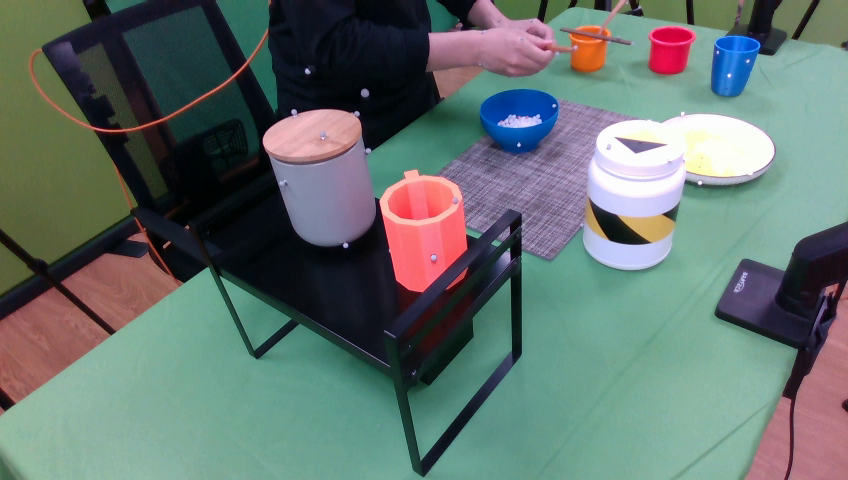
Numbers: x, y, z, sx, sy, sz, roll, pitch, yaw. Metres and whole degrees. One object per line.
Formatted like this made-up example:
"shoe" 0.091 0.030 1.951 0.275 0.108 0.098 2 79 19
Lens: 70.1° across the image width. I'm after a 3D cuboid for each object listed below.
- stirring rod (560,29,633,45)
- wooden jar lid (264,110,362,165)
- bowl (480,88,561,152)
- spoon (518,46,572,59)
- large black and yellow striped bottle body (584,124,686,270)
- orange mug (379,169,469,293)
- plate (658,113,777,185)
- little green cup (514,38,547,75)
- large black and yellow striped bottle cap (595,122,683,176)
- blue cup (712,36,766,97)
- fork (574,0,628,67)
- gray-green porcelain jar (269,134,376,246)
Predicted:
"stirring rod" 0.381 -0.452 1.345 0.174 0.006 0.014 25 49 33
"wooden jar lid" -0.122 -0.112 0.673 0.108 0.021 0.108 -4 37 4
"bowl" 0.185 -0.222 1.160 0.151 0.077 0.150 -4 40 4
"spoon" 0.205 -0.320 1.028 0.042 0.021 0.192 -10 16 -9
"large black and yellow striped bottle body" 0.304 -0.063 0.880 0.131 0.185 0.130 -5 41 5
"orange mug" -0.002 -0.019 0.665 0.083 0.101 0.125 -12 45 -4
"plate" 0.506 -0.158 1.073 0.209 0.038 0.208 -5 40 4
"little green cup" 0.195 -0.336 1.111 0.061 0.039 0.061 -3 62 7
"large black and yellow striped bottle cap" 0.293 -0.126 0.826 0.115 0.019 0.114 -3 40 3
"blue cup" 0.627 -0.350 1.227 0.092 0.100 0.092 -4 39 4
"fork" 0.413 -0.481 1.377 0.207 0.019 0.028 -56 43 12
"gray-green porcelain jar" -0.115 -0.064 0.715 0.106 0.127 0.105 -4 40 4
